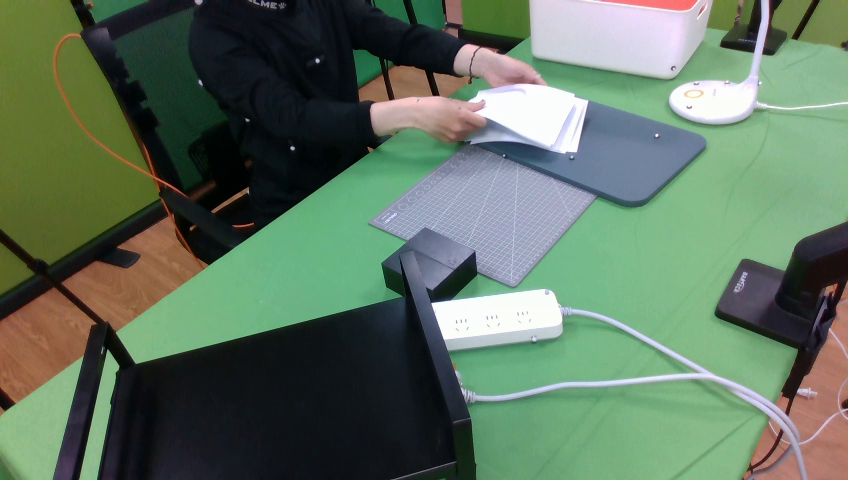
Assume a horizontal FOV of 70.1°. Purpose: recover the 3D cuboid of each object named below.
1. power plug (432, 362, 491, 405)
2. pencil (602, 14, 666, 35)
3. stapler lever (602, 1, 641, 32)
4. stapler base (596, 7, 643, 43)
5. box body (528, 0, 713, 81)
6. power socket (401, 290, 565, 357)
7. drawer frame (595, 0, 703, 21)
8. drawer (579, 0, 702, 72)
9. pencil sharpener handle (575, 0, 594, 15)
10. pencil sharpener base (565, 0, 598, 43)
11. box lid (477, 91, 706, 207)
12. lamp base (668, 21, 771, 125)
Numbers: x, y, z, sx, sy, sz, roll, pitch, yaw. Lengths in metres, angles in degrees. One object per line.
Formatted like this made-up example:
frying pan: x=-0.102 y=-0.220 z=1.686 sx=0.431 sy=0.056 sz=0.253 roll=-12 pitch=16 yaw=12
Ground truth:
power plug: x=0.045 y=0.182 z=0.758 sx=0.073 sy=0.035 sz=0.052 roll=22 pitch=43 yaw=-18
pencil: x=0.483 y=-0.494 z=1.388 sx=0.195 sy=0.012 sz=0.012 roll=-22 pitch=42 yaw=-20
stapler lever: x=0.451 y=-0.516 z=1.378 sx=0.118 sy=0.040 sz=0.026 roll=-39 pitch=63 yaw=-18
stapler base: x=0.453 y=-0.502 z=1.397 sx=0.131 sy=0.024 sz=0.041 roll=-39 pitch=63 yaw=-19
box body: x=0.450 y=-0.512 z=1.398 sx=0.361 sy=0.161 sz=0.254 roll=19 pitch=48 yaw=28
power socket: x=0.080 y=0.113 z=0.822 sx=0.227 sy=0.033 sz=0.072 roll=-7 pitch=41 yaw=0
drawer frame: x=0.487 y=-0.489 z=1.360 sx=0.212 sy=0.083 sz=0.202 roll=24 pitch=62 yaw=20
drawer: x=0.484 y=-0.489 z=1.361 sx=0.210 sy=0.073 sz=0.194 roll=24 pitch=63 yaw=21
pencil sharpener handle: x=0.401 y=-0.594 z=1.511 sx=0.036 sy=0.067 sz=0.030 roll=36 pitch=49 yaw=-1
pencil sharpener base: x=0.388 y=-0.550 z=1.483 sx=0.061 sy=0.107 sz=0.077 roll=14 pitch=44 yaw=23
box lid: x=0.310 y=-0.190 z=1.157 sx=0.368 sy=0.015 sz=0.264 roll=30 pitch=52 yaw=35
lamp base: x=0.577 y=-0.333 z=1.155 sx=0.179 sy=0.181 sz=0.160 roll=6 pitch=42 yaw=12
